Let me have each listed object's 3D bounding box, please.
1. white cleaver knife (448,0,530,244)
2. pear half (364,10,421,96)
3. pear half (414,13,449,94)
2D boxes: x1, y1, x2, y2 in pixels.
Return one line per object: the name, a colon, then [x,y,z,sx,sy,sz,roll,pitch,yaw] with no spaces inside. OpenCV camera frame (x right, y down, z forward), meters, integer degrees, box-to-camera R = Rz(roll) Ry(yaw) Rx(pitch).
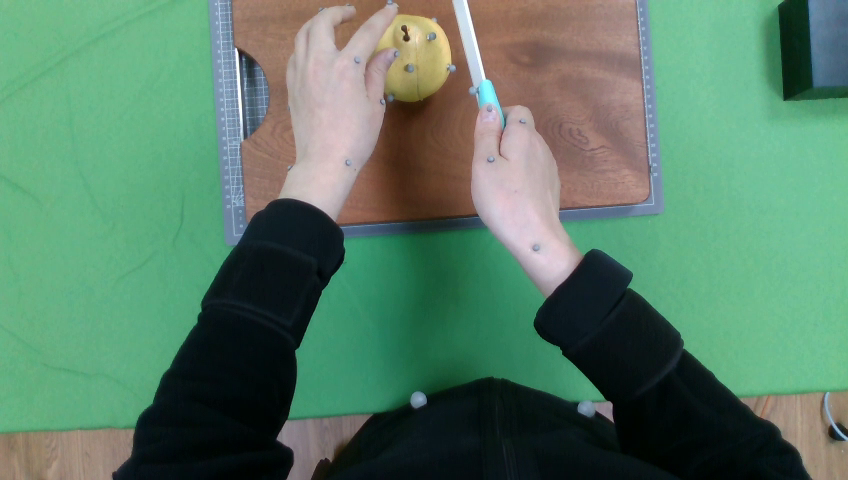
white cleaver knife: [0.041,-0.136,0.477,0.021,0.065,0.287,-14,96,-1]
pear half: [-0.028,-0.173,0.545,0.056,0.110,0.076,-2,84,2]
pear half: [0.007,-0.172,0.554,0.031,0.088,0.070,-1,83,0]
